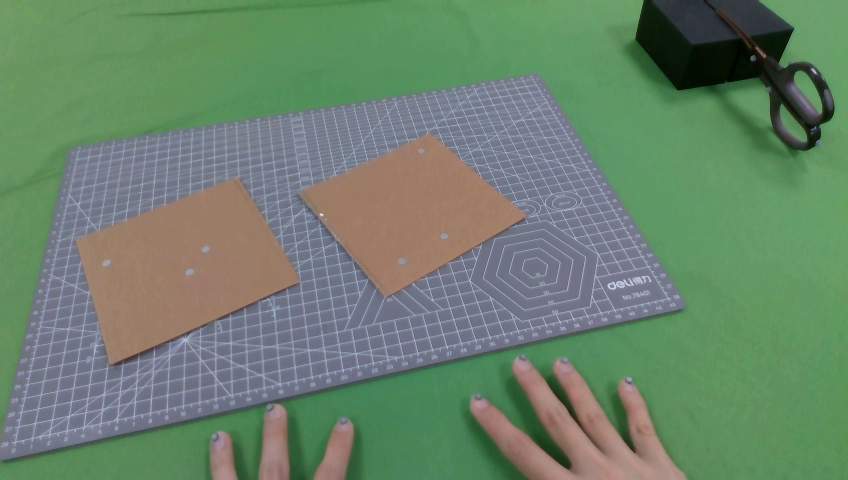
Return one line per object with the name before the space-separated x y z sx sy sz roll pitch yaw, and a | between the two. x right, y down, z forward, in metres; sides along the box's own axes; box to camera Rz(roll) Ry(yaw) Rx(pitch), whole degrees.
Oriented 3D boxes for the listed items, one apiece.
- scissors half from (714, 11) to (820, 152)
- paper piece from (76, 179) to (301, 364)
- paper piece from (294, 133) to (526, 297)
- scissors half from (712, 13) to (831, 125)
scissors half | 0.304 -0.149 0.551 0.013 0.040 0.173 -16 63 -1
paper piece | -0.181 0.015 0.457 0.136 0.004 0.134 -24 51 -19
paper piece | -0.013 -0.028 0.491 0.138 0.009 0.134 -28 57 -22
scissors half | 0.300 -0.161 0.535 0.013 0.040 0.173 -19 45 3
